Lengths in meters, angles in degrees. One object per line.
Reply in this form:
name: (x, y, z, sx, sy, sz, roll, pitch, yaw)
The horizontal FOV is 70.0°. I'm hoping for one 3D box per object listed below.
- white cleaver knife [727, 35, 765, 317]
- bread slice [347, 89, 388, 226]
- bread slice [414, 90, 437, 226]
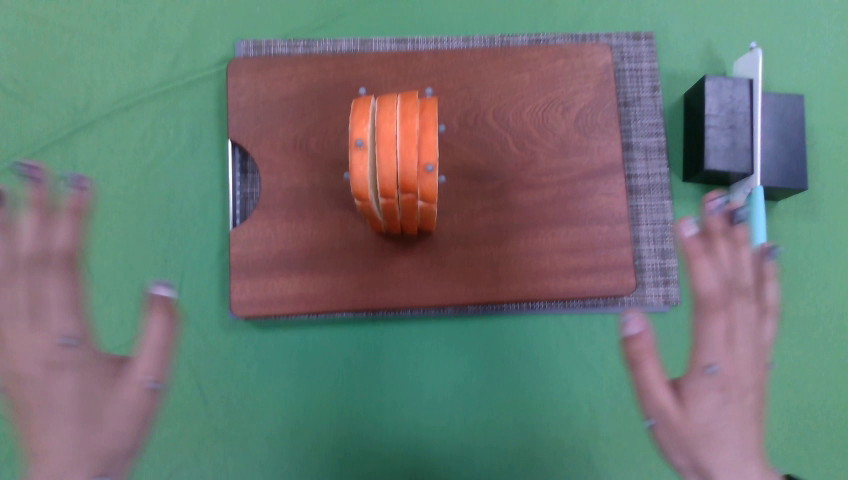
white cleaver knife: (0.328, -0.065, 0.616, 0.021, 0.066, 0.285, 5, 83, 5)
bread slice: (-0.049, -0.076, 0.545, 0.019, 0.132, 0.104, -1, 80, 4)
bread slice: (0.001, -0.072, 0.544, 0.018, 0.134, 0.107, 0, 86, -2)
